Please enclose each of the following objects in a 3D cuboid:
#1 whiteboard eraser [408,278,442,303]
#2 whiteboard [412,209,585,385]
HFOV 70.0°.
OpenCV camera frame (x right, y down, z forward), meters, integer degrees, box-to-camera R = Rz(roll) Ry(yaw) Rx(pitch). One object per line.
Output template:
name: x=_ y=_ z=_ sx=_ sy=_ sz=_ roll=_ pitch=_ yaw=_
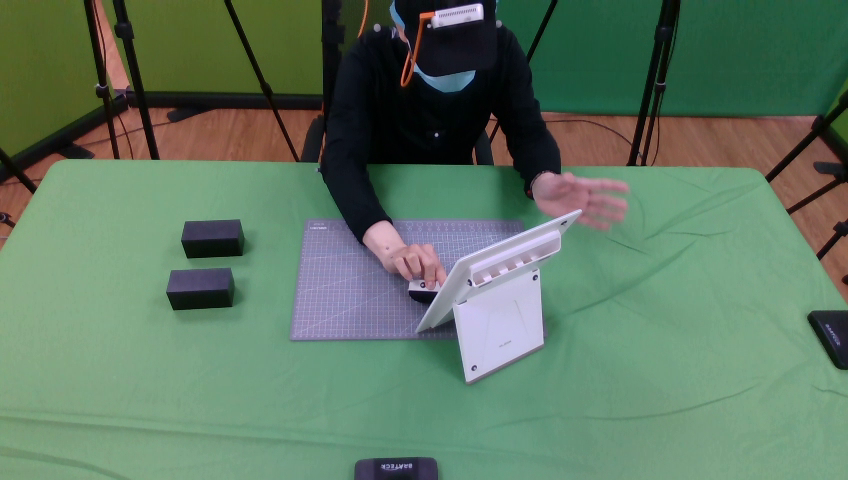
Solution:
whiteboard eraser: x=0.033 y=0.089 z=1.050 sx=0.112 sy=0.056 sz=0.041 roll=0 pitch=74 yaw=19
whiteboard: x=0.134 y=0.109 z=0.942 sx=0.217 sy=0.306 sz=0.143 roll=-20 pitch=72 yaw=-22
